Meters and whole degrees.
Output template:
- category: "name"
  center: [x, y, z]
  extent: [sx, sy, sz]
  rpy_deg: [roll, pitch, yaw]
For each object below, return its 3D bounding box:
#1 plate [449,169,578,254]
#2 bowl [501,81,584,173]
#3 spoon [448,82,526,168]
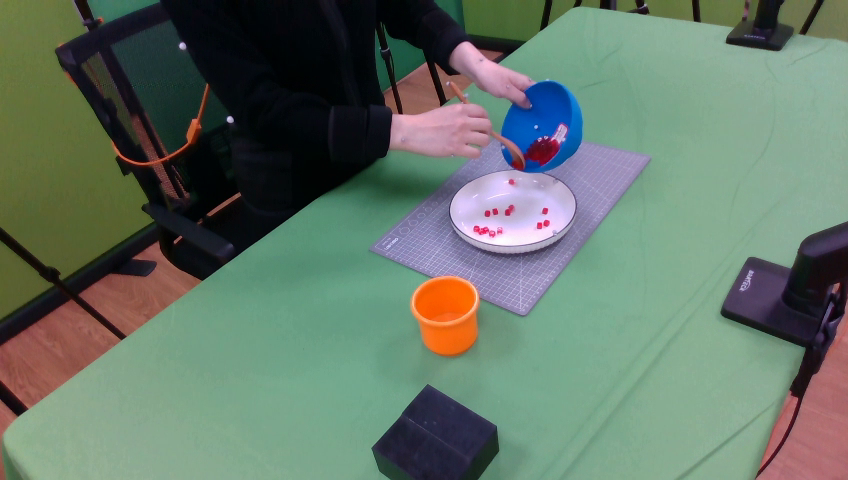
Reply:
- category: "plate"
  center: [0.147, -0.044, 0.994]
  extent: [0.209, 0.038, 0.208]
  rpy_deg: [-5, 40, 5]
- category: "bowl"
  center: [0.207, -0.175, 0.987]
  extent: [0.077, 0.151, 0.150]
  rpy_deg: [13, 25, -38]
- category: "spoon"
  center: [0.100, -0.174, 0.928]
  extent: [0.021, 0.195, 0.041]
  rpy_deg: [-48, 33, 9]
